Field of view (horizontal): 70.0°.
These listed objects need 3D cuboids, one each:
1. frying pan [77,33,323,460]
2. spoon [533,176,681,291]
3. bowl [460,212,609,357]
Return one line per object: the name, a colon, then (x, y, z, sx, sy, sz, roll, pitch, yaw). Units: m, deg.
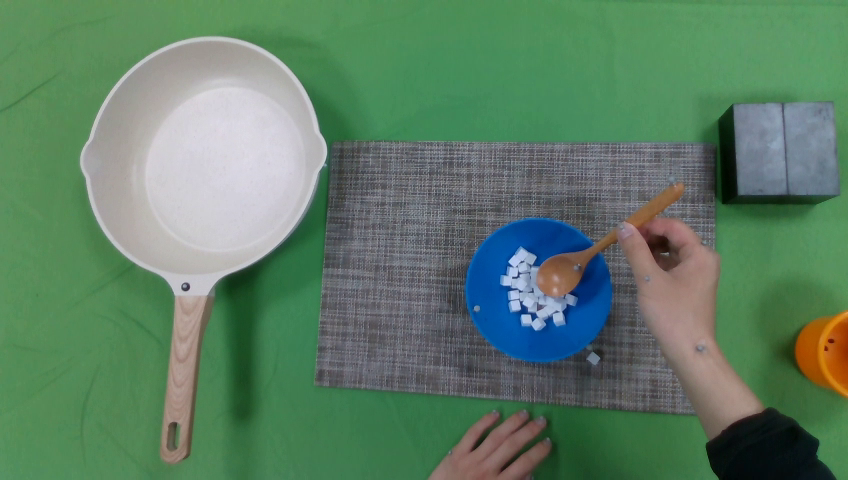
frying pan: (-0.266, 0.000, 0.710, 0.306, 0.103, 0.485, 0, 75, 9)
spoon: (0.167, -0.001, 0.572, 0.021, 0.194, 0.041, -30, 79, -37)
bowl: (0.119, 0.050, 0.659, 0.151, 0.077, 0.151, -1, 84, 8)
